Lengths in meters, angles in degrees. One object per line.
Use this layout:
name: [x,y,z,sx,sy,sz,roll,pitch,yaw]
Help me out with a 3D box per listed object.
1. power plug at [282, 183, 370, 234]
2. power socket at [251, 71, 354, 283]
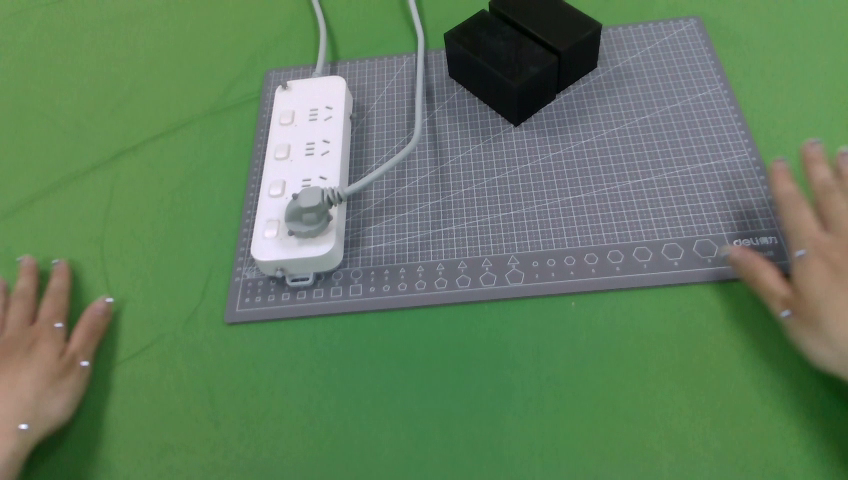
power plug: [-0.077,-0.020,0.481,0.072,0.053,0.035,5,58,11]
power socket: [-0.104,-0.068,0.543,0.072,0.033,0.224,-4,57,6]
